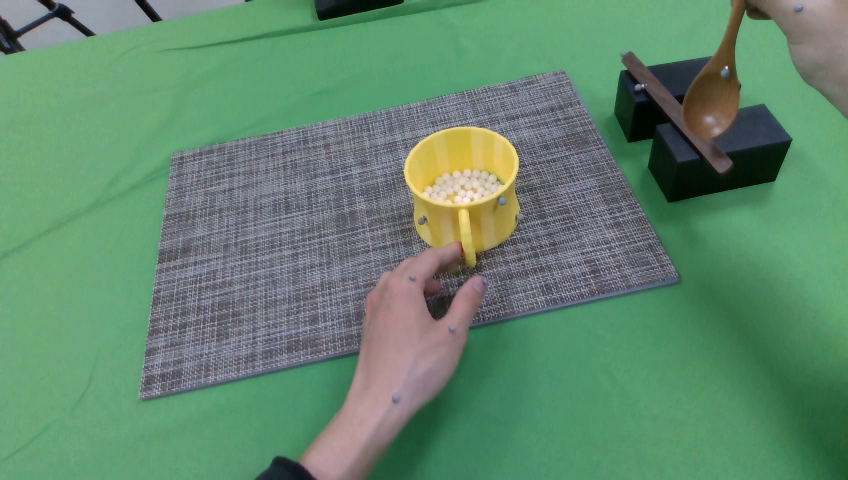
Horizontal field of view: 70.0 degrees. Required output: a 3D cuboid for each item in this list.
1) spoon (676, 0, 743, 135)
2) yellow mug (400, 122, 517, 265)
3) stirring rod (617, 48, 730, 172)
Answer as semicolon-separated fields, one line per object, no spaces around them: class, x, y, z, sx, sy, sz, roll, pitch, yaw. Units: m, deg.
spoon;0.219;-0.161;0.428;0.041;0.195;0.021;22;50;24
yellow mug;0.034;-0.037;0.533;0.100;0.064;0.129;-6;52;5
stirring rod;0.220;-0.123;0.547;0.014;0.006;0.174;-40;48;22
